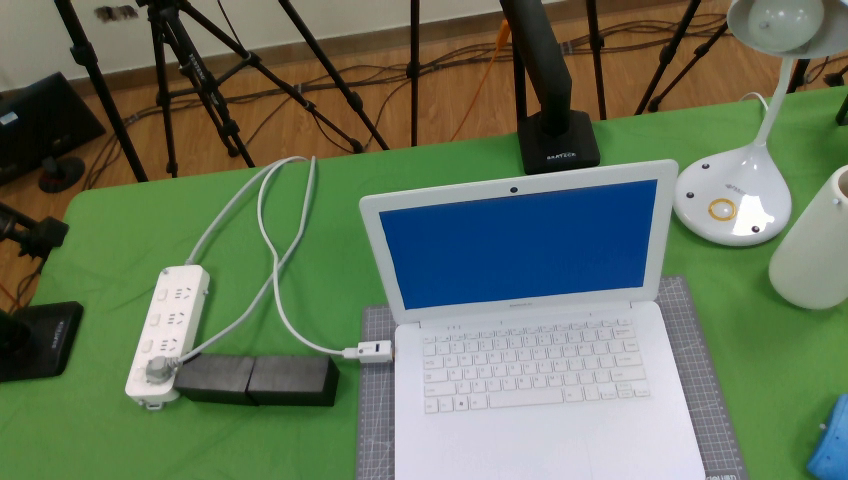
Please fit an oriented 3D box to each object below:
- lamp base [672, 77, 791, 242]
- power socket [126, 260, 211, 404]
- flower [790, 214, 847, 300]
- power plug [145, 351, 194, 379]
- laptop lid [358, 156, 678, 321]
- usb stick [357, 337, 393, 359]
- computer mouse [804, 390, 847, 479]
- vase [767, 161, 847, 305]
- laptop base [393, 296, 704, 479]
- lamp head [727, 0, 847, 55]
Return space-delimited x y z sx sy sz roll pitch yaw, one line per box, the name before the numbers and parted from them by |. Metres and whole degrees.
lamp base | 0.435 -0.118 0.817 0.159 0.182 0.178 23 60 24
power socket | -0.368 0.125 0.882 0.072 0.033 0.224 -4 54 7
flower | 0.485 -0.061 0.654 0.038 0.364 0.043 -8 43 -16
power plug | -0.342 0.173 0.820 0.072 0.053 0.035 5 57 11
laptop lid | 0.114 0.011 0.738 0.356 0.244 0.013 -8 44 7
usb stick | -0.058 0.144 0.807 0.059 0.027 0.021 -2 53 4
computer mouse | 0.471 0.217 0.664 0.062 0.041 0.117 31 61 31
vase | 0.482 -0.005 0.718 0.098 0.202 0.097 -6 54 8
laptop base | 0.136 0.191 0.755 0.354 0.023 0.233 -6 58 6
lamp head | 0.352 -0.246 0.551 0.111 0.113 0.122 20 79 23
